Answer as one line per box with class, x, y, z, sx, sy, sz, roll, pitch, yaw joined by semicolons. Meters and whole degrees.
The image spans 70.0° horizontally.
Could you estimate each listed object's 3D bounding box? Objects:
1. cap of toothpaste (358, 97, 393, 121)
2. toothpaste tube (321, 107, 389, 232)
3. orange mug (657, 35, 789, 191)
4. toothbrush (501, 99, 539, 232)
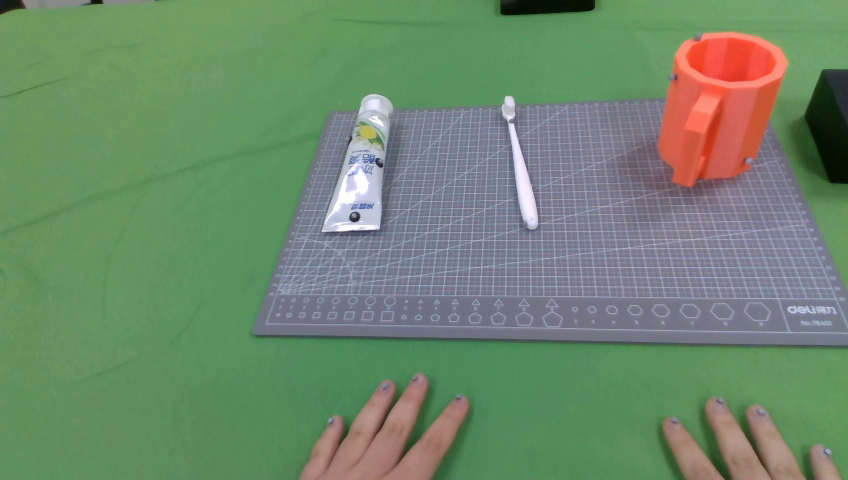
cap of toothpaste;-0.051;-0.134;0.637;0.037;0.038;0.011;0;52;8
toothpaste tube;-0.060;-0.073;0.590;0.055;0.035;0.163;-4;51;13
orange mug;0.247;-0.104;0.522;0.083;0.102;0.126;23;50;27
toothbrush;0.091;-0.077;0.577;0.014;0.017;0.180;5;48;-8
